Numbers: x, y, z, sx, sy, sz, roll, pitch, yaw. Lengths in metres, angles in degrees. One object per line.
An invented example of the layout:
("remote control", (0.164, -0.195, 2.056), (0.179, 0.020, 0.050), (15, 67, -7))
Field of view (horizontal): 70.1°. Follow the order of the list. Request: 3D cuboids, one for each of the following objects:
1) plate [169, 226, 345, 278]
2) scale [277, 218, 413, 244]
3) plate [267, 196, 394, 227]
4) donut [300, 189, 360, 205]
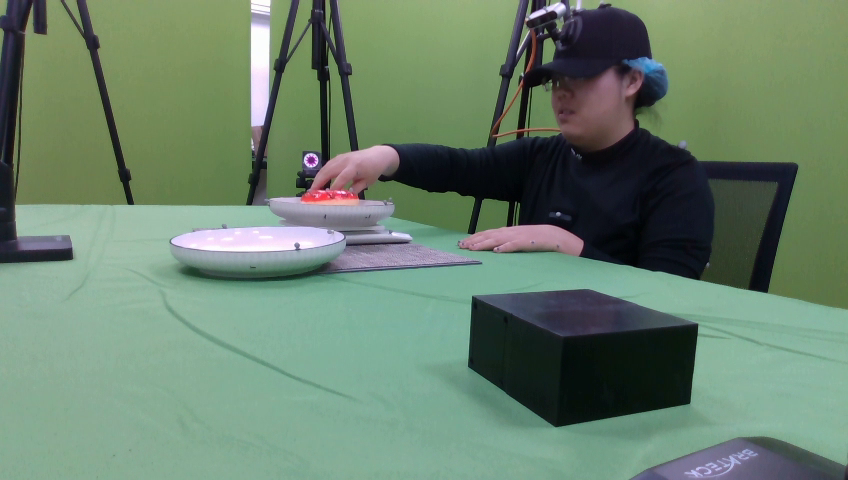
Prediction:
("plate", (-0.202, 0.014, 0.748), (0.209, 0.038, 0.209), (1, 9, 0))
("scale", (-0.134, -0.015, 1.015), (0.202, 0.031, 0.148), (-1, 9, -33))
("plate", (-0.152, -0.047, 0.998), (0.208, 0.039, 0.207), (3, 7, 0))
("donut", (-0.155, -0.062, 1.002), (0.099, 0.048, 0.099), (-1, 6, 0))
